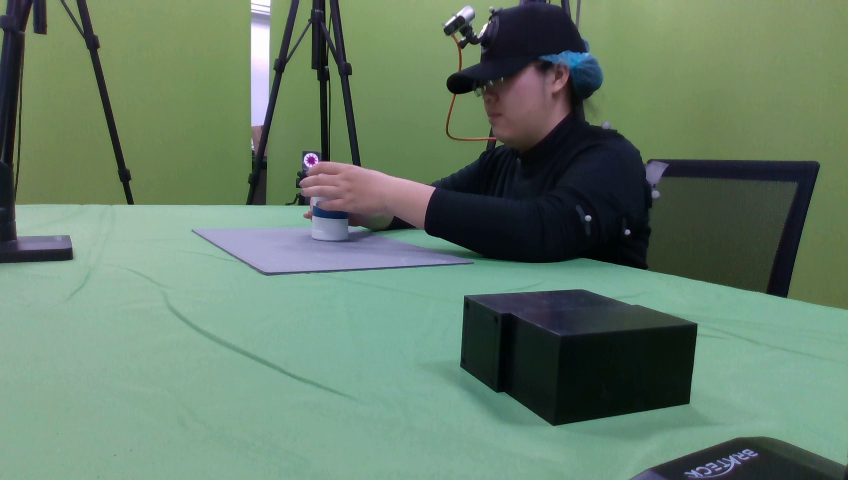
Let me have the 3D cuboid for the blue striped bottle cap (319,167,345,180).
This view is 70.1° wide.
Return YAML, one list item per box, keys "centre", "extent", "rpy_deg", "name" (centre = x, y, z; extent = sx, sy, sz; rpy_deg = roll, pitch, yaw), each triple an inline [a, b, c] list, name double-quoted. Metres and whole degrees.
- centre: [-0.154, -0.112, 1.015]
  extent: [0.044, 0.020, 0.044]
  rpy_deg: [1, 8, 0]
  name: "blue striped bottle cap"

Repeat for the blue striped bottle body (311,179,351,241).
- centre: [-0.157, -0.060, 1.021]
  extent: [0.063, 0.120, 0.063]
  rpy_deg: [3, 4, 0]
  name: "blue striped bottle body"
